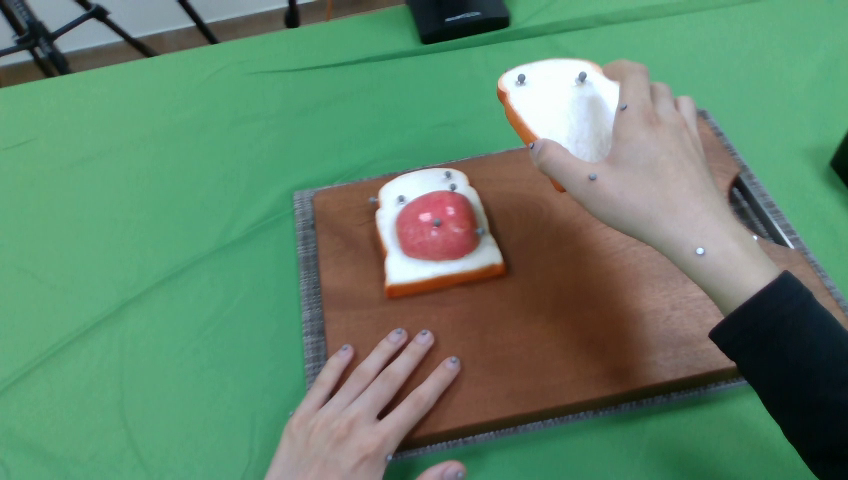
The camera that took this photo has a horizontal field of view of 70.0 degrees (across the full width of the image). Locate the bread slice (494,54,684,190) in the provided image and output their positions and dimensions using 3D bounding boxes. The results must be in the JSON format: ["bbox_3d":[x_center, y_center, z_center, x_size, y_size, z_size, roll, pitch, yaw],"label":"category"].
[{"bbox_3d":[0.114,-0.097,0.469,0.107,0.018,0.133,-19,56,-19],"label":"bread slice"}]

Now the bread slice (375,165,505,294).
[{"bbox_3d":[0.006,-0.016,0.547,0.105,0.019,0.130,-12,53,-4],"label":"bread slice"}]

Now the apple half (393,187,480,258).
[{"bbox_3d":[0.010,-0.021,0.520,0.081,0.033,0.080,-2,52,3],"label":"apple half"}]
